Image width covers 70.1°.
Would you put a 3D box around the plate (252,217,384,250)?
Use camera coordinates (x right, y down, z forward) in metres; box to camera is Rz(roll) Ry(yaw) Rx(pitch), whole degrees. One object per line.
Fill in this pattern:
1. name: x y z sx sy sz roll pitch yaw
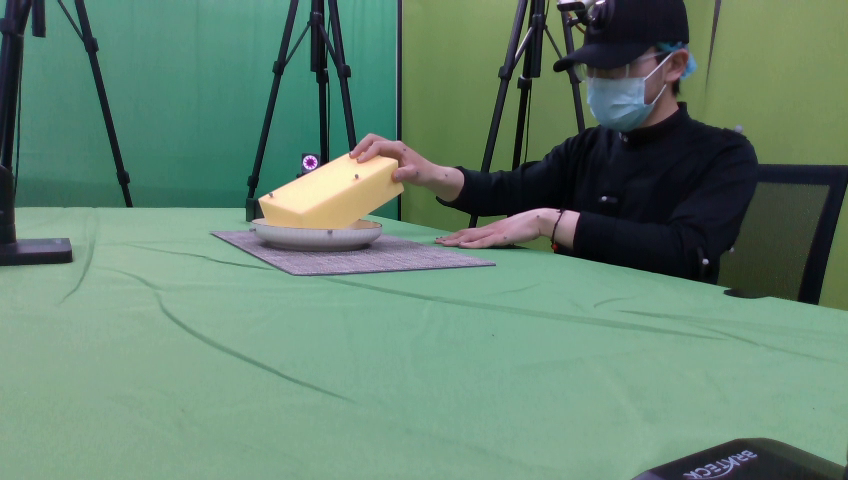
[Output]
1. plate: -0.169 -0.012 0.976 0.208 0.039 0.207 2 7 0

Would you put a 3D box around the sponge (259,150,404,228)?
1. sponge: -0.147 -0.075 0.991 0.117 0.061 0.207 16 39 41
